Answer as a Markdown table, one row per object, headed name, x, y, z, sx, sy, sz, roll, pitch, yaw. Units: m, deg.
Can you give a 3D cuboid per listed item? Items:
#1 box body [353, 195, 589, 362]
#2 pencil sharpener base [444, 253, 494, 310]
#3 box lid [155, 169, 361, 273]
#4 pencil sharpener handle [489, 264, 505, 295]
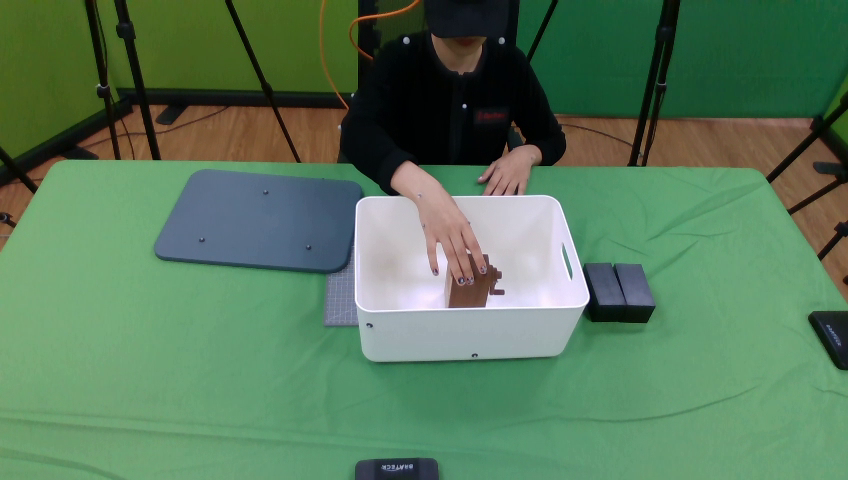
| name | x | y | z | sx | sy | sz | roll | pitch | yaw |
| --- | --- | --- | --- | --- | --- | --- | --- | --- | --- |
| box body | 0.065 | 0.066 | 1.040 | 0.364 | 0.161 | 0.252 | -1 | 46 | -5 |
| pencil sharpener base | 0.078 | 0.078 | 1.058 | 0.077 | 0.107 | 0.061 | 1 | 46 | -4 |
| box lid | -0.321 | -0.044 | 1.225 | 0.371 | 0.015 | 0.261 | 4 | 46 | 1 |
| pencil sharpener handle | 0.129 | 0.071 | 1.052 | 0.031 | 0.068 | 0.036 | 1 | 42 | -4 |
